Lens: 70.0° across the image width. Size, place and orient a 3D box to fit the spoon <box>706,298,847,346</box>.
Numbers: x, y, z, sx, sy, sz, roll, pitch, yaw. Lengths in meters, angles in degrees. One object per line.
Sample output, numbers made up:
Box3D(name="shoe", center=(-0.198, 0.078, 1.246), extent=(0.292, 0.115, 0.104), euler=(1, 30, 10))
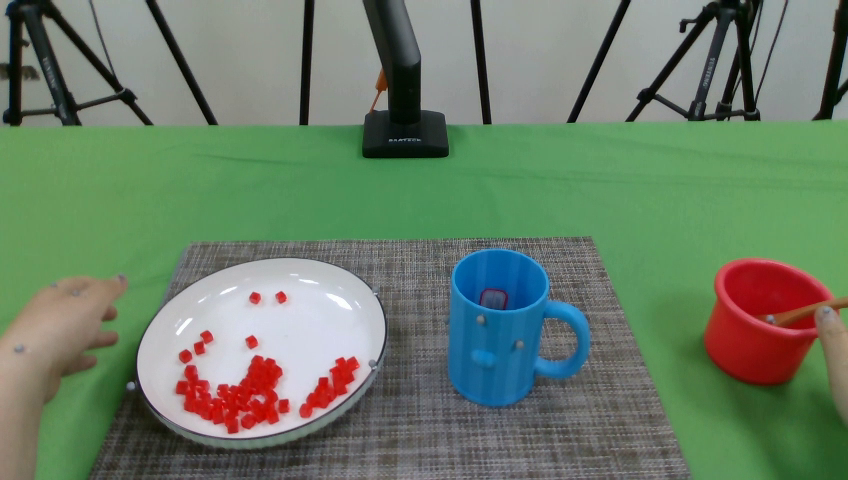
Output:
Box3D(name="spoon", center=(0.329, 0.061, 0.499), extent=(0.041, 0.193, 0.021), euler=(-37, 96, -44))

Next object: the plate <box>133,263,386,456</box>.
Box3D(name="plate", center=(-0.136, 0.098, 0.524), extent=(0.208, 0.039, 0.205), euler=(1, 37, 0))

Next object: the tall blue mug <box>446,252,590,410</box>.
Box3D(name="tall blue mug", center=(0.073, 0.074, 0.499), extent=(0.107, 0.109, 0.077), euler=(-5, 37, -7))
